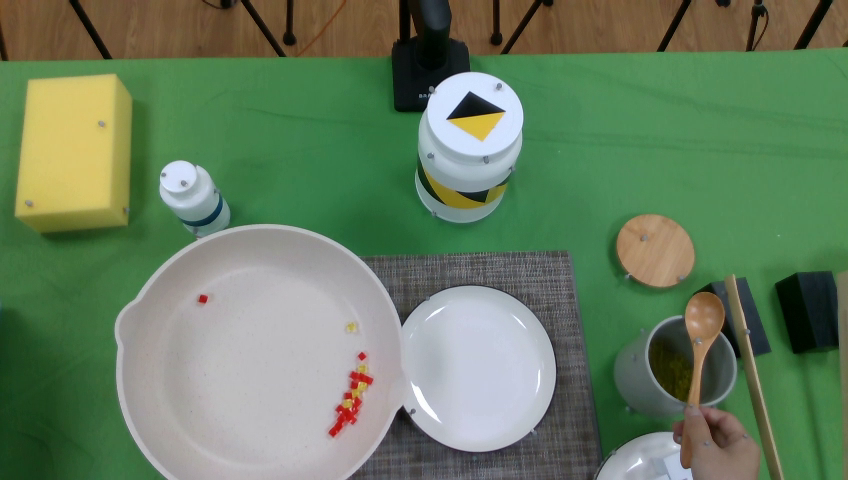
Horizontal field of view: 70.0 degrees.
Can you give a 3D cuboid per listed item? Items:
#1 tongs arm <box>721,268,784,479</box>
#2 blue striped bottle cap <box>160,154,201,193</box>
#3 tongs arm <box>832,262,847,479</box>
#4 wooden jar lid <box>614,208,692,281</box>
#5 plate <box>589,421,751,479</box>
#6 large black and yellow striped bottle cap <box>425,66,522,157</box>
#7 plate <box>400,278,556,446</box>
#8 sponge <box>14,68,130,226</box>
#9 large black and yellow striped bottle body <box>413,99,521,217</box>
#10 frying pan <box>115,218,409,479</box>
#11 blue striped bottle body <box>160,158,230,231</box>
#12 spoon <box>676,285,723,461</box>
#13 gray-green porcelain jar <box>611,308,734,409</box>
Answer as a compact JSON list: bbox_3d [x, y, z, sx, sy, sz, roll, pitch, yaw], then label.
[{"bbox_3d":[0.429,0.220,0.739,0.051,0.026,0.383,-7,81,-8],"label":"tongs arm"},{"bbox_3d":[-0.294,-0.081,0.732,0.044,0.021,0.044,1,72,-3],"label":"blue striped bottle cap"},{"bbox_3d":[0.514,0.218,0.747,0.028,0.028,0.386,8,80,-9],"label":"tongs arm"},{"bbox_3d":[0.318,0.007,0.848,0.108,0.021,0.107,1,72,-3],"label":"wooden jar lid"},{"bbox_3d":[0.293,0.324,0.723,0.208,0.039,0.206,1,70,-3],"label":"plate"},{"bbox_3d":[0.059,-0.153,0.712,0.115,0.019,0.114,1,71,-3],"label":"large black and yellow striped bottle cap"},{"bbox_3d":[0.061,0.151,0.766,0.209,0.038,0.207,1,70,-3],"label":"plate"},{"bbox_3d":[-0.473,-0.128,0.823,0.118,0.061,0.205,-7,71,-6],"label":"sponge"},{"bbox_3d":[0.053,-0.122,0.791,0.131,0.185,0.130,1,69,-3],"label":"large black and yellow striped bottle body"},{"bbox_3d":[-0.184,0.214,0.611,0.308,0.103,0.484,19,61,-16],"label":"frying pan"},{"bbox_3d":[-0.296,-0.062,0.779,0.063,0.121,0.062,1,70,-3],"label":"blue striped bottle body"},{"bbox_3d":[0.294,0.142,0.662,0.041,0.022,0.193,10,69,22],"label":"spoon"},{"bbox_3d":[0.294,0.149,0.738,0.106,0.127,0.105,1,70,-3],"label":"gray-green porcelain jar"}]
